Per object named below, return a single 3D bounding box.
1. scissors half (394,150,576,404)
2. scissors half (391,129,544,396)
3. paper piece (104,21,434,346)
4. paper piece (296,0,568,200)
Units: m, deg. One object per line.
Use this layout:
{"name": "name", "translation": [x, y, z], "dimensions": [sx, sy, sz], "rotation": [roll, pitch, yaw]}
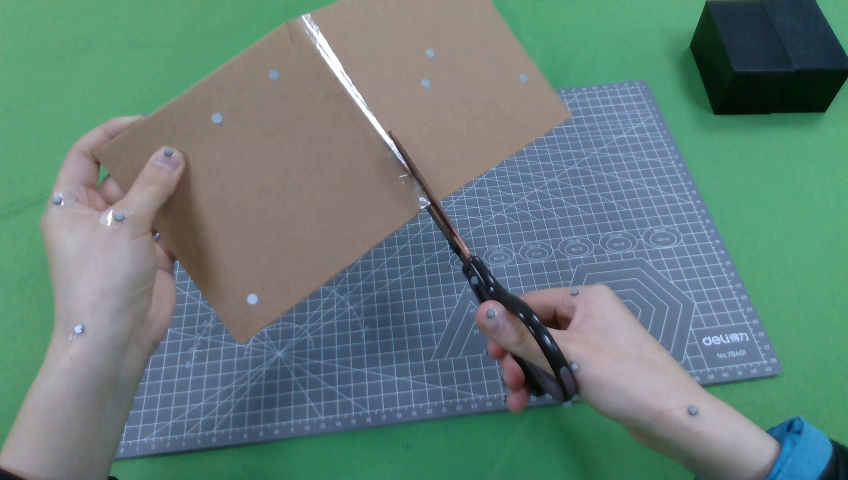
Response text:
{"name": "scissors half", "translation": [0.027, 0.010, 0.326], "dimensions": [0.013, 0.040, 0.174], "rotation": [-30, 70, -13]}
{"name": "scissors half", "translation": [0.025, 0.014, 0.348], "dimensions": [0.013, 0.040, 0.175], "rotation": [-30, 99, -8]}
{"name": "paper piece", "translation": [-0.089, -0.034, 0.344], "dimensions": [0.138, 0.008, 0.135], "rotation": [-36, 85, -1]}
{"name": "paper piece", "translation": [0.013, -0.105, 0.379], "dimensions": [0.136, 0.004, 0.135], "rotation": [-33, 86, -32]}
